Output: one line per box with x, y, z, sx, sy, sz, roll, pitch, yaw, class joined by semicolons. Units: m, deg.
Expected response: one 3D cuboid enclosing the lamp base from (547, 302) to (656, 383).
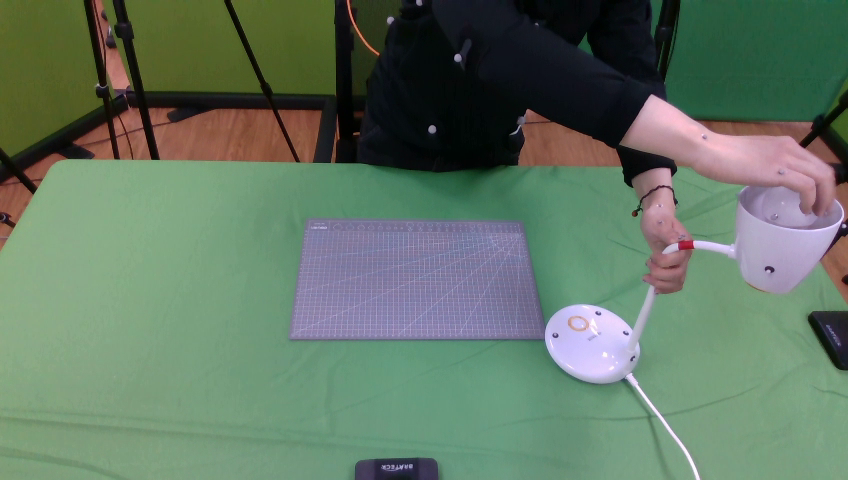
0.304;0.127;0.982;0.160;0.181;0.178;-33;59;-29;lamp base

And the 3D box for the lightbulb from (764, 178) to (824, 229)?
0.427;-0.021;0.709;0.059;0.108;0.059;-4;32;3;lightbulb

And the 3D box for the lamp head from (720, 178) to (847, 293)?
0.422;0.002;0.726;0.112;0.123;0.111;-1;39;1;lamp head
